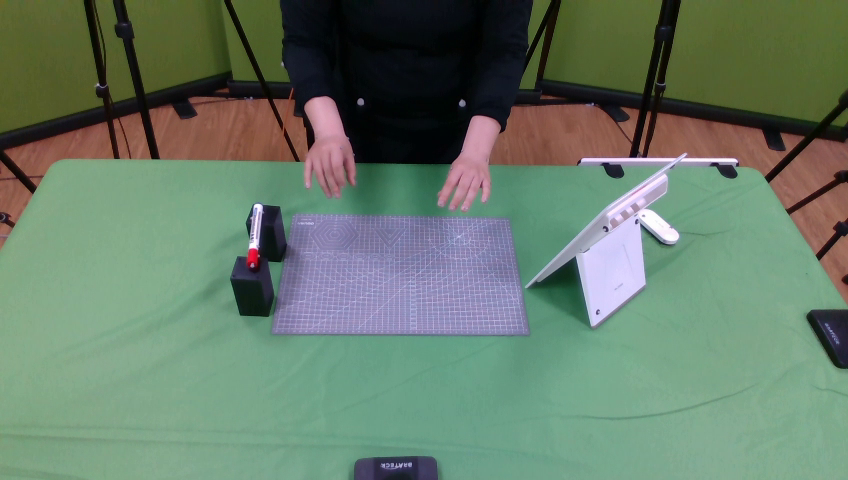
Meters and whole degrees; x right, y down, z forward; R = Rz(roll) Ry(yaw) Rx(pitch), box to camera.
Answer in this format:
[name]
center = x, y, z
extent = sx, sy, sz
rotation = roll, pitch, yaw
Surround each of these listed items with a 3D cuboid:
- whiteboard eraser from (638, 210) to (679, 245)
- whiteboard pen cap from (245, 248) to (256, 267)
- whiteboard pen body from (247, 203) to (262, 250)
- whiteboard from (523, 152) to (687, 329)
[whiteboard eraser]
center = 0.485, -0.027, 1.260
extent = 0.041, 0.019, 0.100
rotation = -21, 50, -21
[whiteboard pen cap]
center = -0.288, 0.028, 1.010
extent = 0.017, 0.017, 0.032
rotation = -2, 45, -6
[whiteboard pen body]
center = -0.295, -0.014, 1.052
extent = 0.017, 0.017, 0.139
rotation = -2, 45, -7
[whiteboard]
center = 0.346, 0.025, 1.046
extent = 0.217, 0.306, 0.143
rotation = -30, 74, -29
